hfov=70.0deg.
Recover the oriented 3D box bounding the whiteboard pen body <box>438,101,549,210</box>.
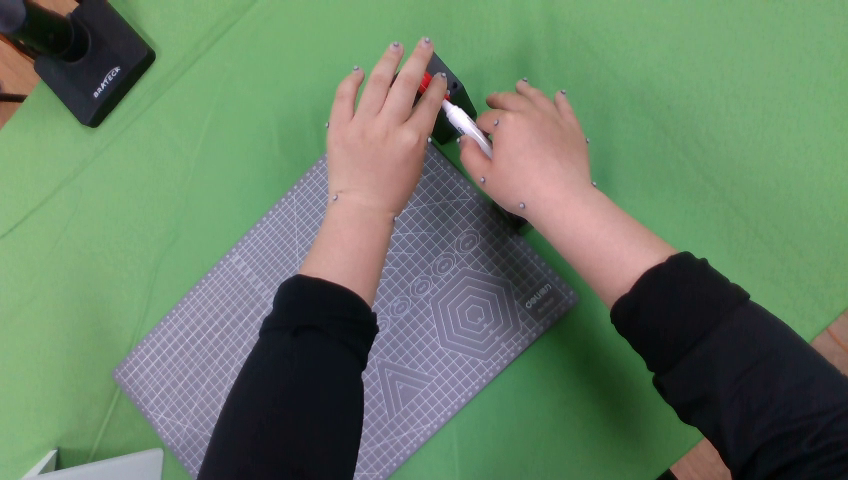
[{"bbox_3d":[0.054,-0.079,0.521,0.017,0.017,0.140,-45,81,7],"label":"whiteboard pen body"}]

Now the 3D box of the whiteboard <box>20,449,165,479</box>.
[{"bbox_3d":[-0.443,0.324,0.593,0.143,0.307,0.217,7,89,32],"label":"whiteboard"}]

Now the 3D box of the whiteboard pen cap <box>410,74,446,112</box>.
[{"bbox_3d":[0.004,-0.129,0.531,0.017,0.017,0.032,-42,83,7],"label":"whiteboard pen cap"}]
